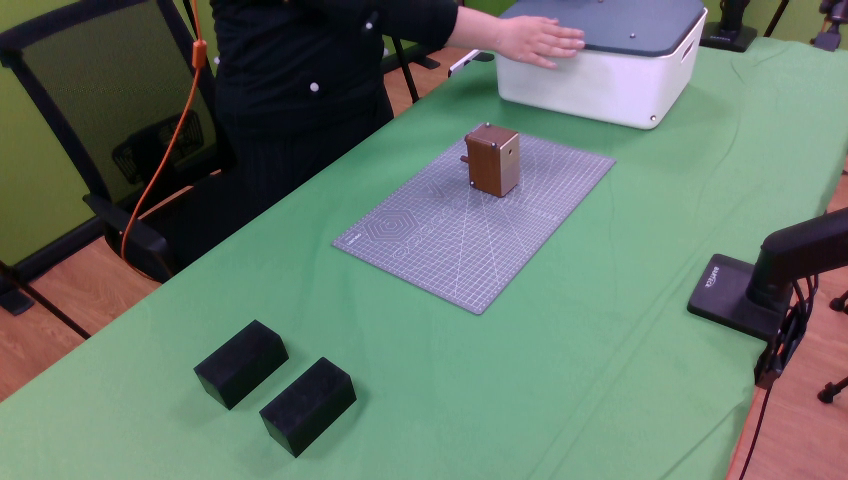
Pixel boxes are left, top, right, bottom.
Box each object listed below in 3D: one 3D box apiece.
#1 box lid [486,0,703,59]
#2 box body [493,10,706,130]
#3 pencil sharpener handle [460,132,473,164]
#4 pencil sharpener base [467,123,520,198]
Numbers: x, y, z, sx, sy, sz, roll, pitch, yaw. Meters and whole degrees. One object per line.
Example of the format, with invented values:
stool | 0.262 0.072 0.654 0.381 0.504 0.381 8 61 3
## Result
box lid | 0.338 -0.437 1.204 0.369 0.015 0.264 18 47 29
box body | 0.354 -0.378 1.254 0.361 0.161 0.254 20 48 28
pencil sharpener handle | 0.077 -0.163 1.062 0.030 0.068 0.036 23 44 32
pencil sharpener base | 0.119 -0.138 1.044 0.076 0.107 0.061 23 49 32
